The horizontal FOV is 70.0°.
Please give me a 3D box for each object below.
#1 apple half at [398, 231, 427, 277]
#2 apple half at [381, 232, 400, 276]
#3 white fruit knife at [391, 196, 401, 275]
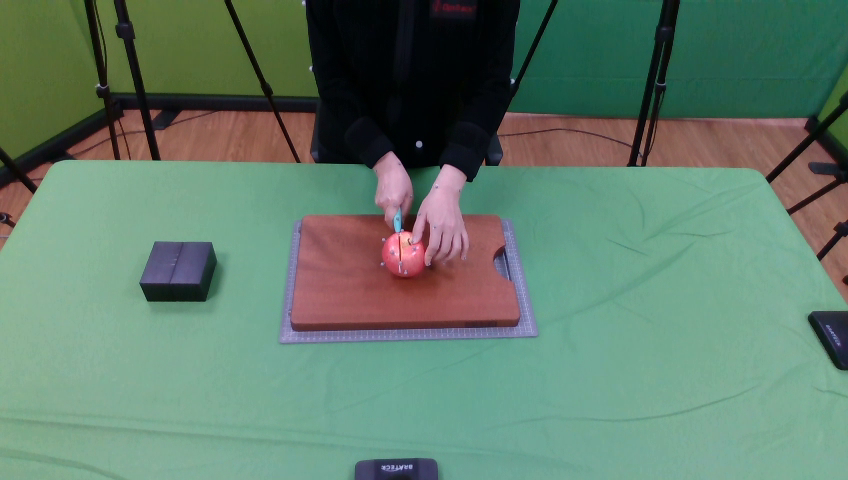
[{"bbox_3d":[-0.022,0.027,1.096,0.053,0.075,0.080,2,43,-10],"label":"apple half"},{"bbox_3d":[-0.061,0.028,1.091,0.033,0.081,0.081,-3,47,-5],"label":"apple half"},{"bbox_3d":[-0.049,-0.014,1.116,0.016,0.027,0.206,-4,45,-3],"label":"white fruit knife"}]
